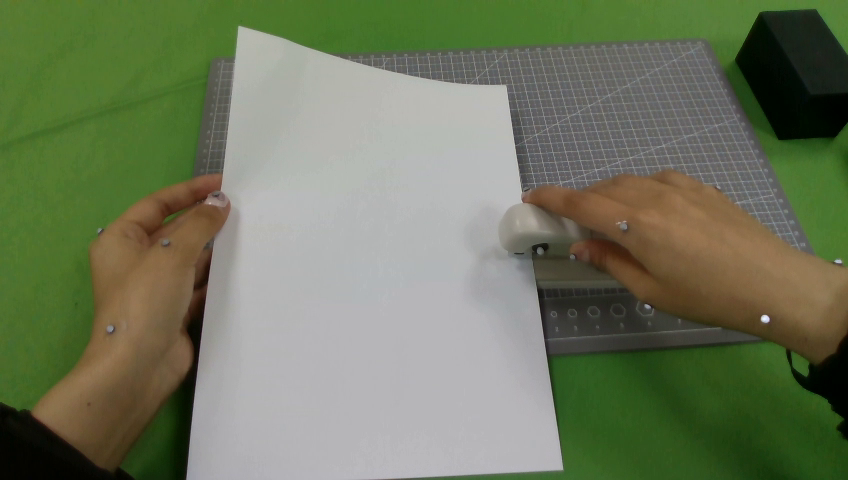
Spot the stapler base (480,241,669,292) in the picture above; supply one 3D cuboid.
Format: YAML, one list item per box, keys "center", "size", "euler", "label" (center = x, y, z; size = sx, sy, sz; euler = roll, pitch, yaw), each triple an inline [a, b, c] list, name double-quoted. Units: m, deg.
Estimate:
- center: [0.105, 0.013, 0.418]
  size: [0.131, 0.024, 0.041]
  euler: [0, 58, -3]
  label: "stapler base"

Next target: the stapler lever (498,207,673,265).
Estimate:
- center: [0.107, -0.002, 0.397]
  size: [0.118, 0.040, 0.026]
  euler: [0, 58, -3]
  label: "stapler lever"
